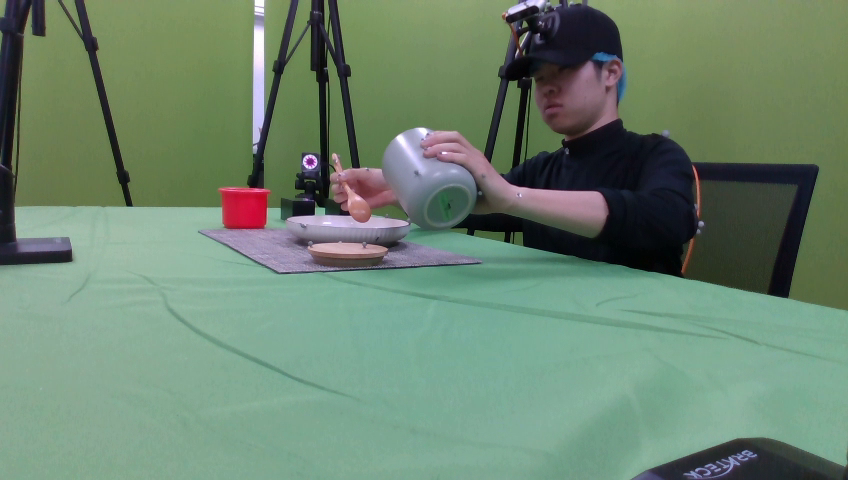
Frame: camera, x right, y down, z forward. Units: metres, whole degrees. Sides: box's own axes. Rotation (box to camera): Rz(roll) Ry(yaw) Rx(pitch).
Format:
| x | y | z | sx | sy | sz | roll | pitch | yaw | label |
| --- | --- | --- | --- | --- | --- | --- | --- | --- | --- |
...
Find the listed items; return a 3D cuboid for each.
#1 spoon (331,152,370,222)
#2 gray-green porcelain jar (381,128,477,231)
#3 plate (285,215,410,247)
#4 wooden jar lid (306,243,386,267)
| x | y | z | sx | sy | sz | roll | pitch | yaw | label |
| --- | --- | --- | --- | --- | --- | --- | --- | --- | --- |
| -0.136 | -0.096 | 1.052 | 0.042 | 0.021 | 0.193 | 1 | 37 | -29 | spoon |
| 0.008 | -0.082 | 0.855 | 0.106 | 0.106 | 0.126 | -1 | 38 | -28 | gray-green porcelain jar |
| -0.127 | -0.015 | 1.012 | 0.208 | 0.039 | 0.207 | 3 | 7 | 0 | plate |
| -0.105 | 0.020 | 0.817 | 0.108 | 0.020 | 0.108 | 1 | 7 | 0 | wooden jar lid |
